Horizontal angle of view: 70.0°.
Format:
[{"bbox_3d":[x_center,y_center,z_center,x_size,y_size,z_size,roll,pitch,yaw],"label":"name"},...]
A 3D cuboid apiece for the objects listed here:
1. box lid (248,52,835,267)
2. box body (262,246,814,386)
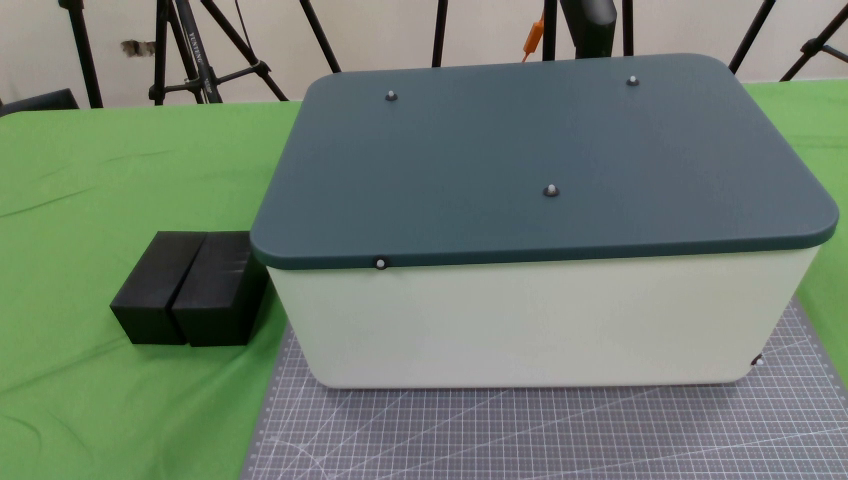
[{"bbox_3d":[0.070,-0.075,0.461,0.371,0.015,0.260,-2,40,4],"label":"box lid"},{"bbox_3d":[0.078,-0.019,0.511,0.364,0.162,0.251,-2,41,4],"label":"box body"}]
